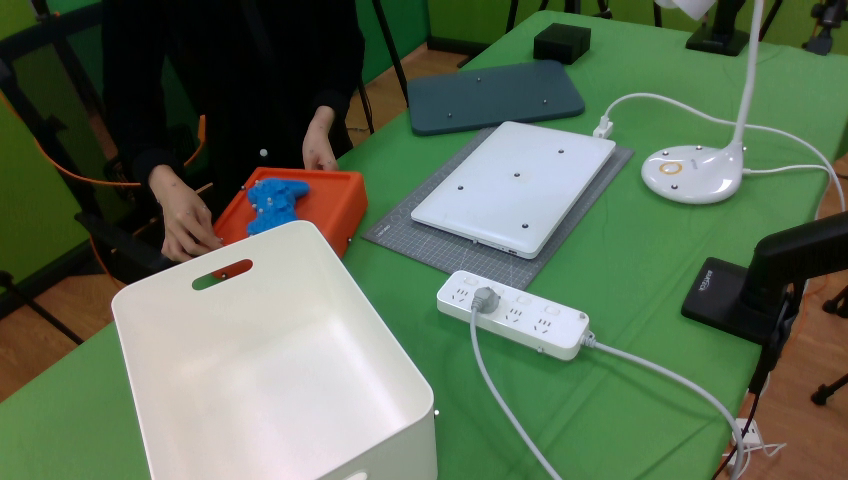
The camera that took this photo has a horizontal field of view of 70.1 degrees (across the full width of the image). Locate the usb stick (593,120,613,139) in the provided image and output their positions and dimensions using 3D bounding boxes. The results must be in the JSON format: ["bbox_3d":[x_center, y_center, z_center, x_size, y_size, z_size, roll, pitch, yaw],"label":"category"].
[{"bbox_3d":[0.336,-0.201,1.146,0.021,0.027,0.059,25,52,27],"label":"usb stick"}]

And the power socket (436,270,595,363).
[{"bbox_3d":[0.118,0.101,0.832,0.225,0.033,0.072,19,48,27],"label":"power socket"}]

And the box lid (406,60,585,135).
[{"bbox_3d":[0.150,-0.320,1.340,0.372,0.015,0.261,-8,40,0],"label":"box lid"}]

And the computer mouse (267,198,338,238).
[{"bbox_3d":[-0.207,-0.039,1.029,0.116,0.041,0.063,12,41,17],"label":"computer mouse"}]

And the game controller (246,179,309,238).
[{"bbox_3d":[-0.226,-0.048,0.939,0.097,0.052,0.154,-15,40,-4],"label":"game controller"}]

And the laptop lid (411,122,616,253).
[{"bbox_3d":[0.165,-0.111,1.067,0.240,0.013,0.357,19,46,31],"label":"laptop lid"}]

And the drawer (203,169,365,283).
[{"bbox_3d":[-0.221,-0.029,0.996,0.194,0.073,0.211,5,42,12],"label":"drawer"}]

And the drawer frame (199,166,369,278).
[{"bbox_3d":[-0.219,-0.029,0.995,0.201,0.083,0.213,5,42,13],"label":"drawer frame"}]

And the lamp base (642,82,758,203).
[{"bbox_3d":[0.464,-0.174,0.992,0.179,0.181,0.159,-5,41,-1],"label":"lamp base"}]

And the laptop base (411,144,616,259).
[{"bbox_3d":[0.168,-0.101,1.073,0.234,0.023,0.355,17,46,30],"label":"laptop base"}]

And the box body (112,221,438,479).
[{"bbox_3d":[-0.170,0.168,0.693,0.255,0.161,0.360,-24,43,-19],"label":"box body"}]

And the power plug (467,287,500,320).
[{"bbox_3d":[0.073,0.092,0.814,0.035,0.053,0.073,29,54,34],"label":"power plug"}]

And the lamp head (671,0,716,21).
[{"bbox_3d":[0.375,-0.373,0.807,0.122,0.113,0.112,-40,27,32],"label":"lamp head"}]
